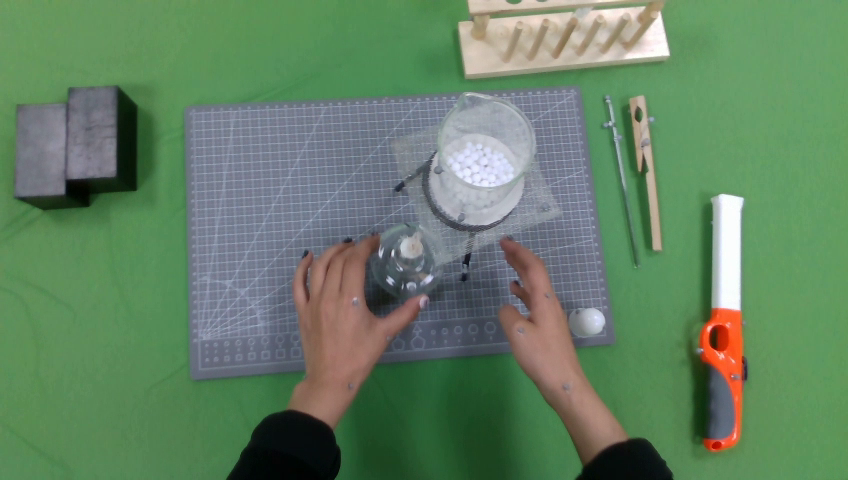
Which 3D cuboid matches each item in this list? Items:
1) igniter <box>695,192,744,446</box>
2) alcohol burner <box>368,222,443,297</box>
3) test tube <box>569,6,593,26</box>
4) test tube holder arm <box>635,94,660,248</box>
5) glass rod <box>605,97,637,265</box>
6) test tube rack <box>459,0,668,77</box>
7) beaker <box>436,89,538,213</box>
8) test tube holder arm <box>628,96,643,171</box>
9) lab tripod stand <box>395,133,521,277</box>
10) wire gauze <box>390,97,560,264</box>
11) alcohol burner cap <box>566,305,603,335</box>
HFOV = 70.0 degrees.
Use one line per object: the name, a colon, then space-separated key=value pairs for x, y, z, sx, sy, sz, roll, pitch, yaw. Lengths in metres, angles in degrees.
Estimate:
igniter: x=0.324 y=0.083 z=0.661 sx=0.057 sy=0.025 sz=0.275 roll=9 pitch=79 yaw=-12
alcohol burner: x=-0.018 y=0.016 z=0.605 sx=0.078 sy=0.119 sz=0.077 roll=1 pitch=77 yaw=-3
test tube: x=0.186 y=-0.270 z=0.636 sx=0.017 sy=0.150 sz=0.017 roll=2 pitch=78 yaw=-9
test tube holder arm: x=0.254 y=-0.079 z=0.689 sx=0.013 sy=0.015 sz=0.177 roll=-9 pitch=80 yaw=28
glass rod: x=0.223 y=-0.070 z=0.691 sx=0.008 sy=0.008 sz=0.199 roll=-5 pitch=80 yaw=-5
test tube rack: x=0.166 y=-0.243 z=0.680 sx=0.242 sy=0.085 sz=0.066 roll=-6 pitch=80 yaw=-4
beaker: x=0.045 y=-0.068 z=0.498 sx=0.074 sy=0.100 sz=0.083 roll=-19 pitch=80 yaw=-5
test tube holder arm: x=0.246 y=-0.123 z=0.699 sx=0.010 sy=0.015 sz=0.087 roll=-9 pitch=80 yaw=28
lab tripod stand: x=0.036 y=-0.042 z=0.609 sx=0.148 sy=0.132 sz=0.148 roll=0 pitch=80 yaw=-1
wire gauze: x=0.045 y=-0.057 z=0.545 sx=0.121 sy=0.011 sz=0.124 roll=-20 pitch=83 yaw=-4
alcohol burner cap: x=0.172 y=0.083 z=0.641 sx=0.034 sy=0.048 sz=0.033 roll=0 pitch=79 yaw=-2
